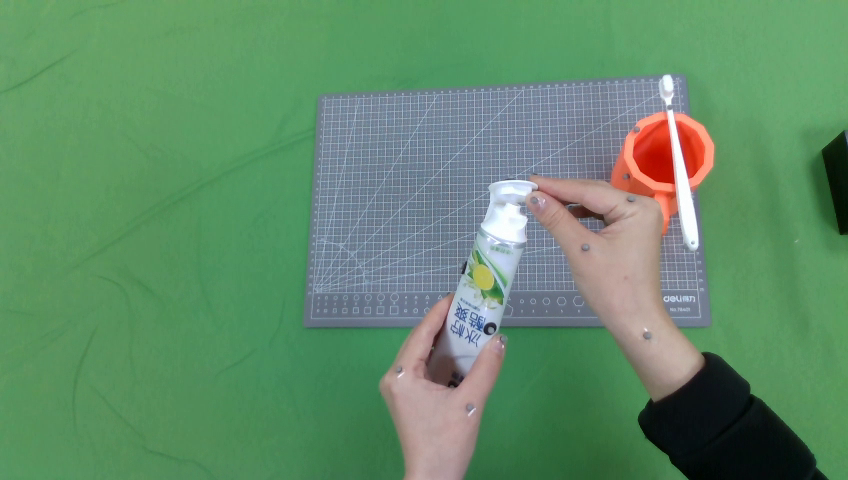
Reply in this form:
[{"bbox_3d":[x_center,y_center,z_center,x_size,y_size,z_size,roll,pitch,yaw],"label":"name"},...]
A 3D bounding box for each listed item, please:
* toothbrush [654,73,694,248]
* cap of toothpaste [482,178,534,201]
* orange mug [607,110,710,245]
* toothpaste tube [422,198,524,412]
[{"bbox_3d":[0.245,-0.081,0.591,0.014,0.017,0.181,-4,75,4],"label":"toothbrush"},{"bbox_3d":[0.058,-0.034,0.422,0.037,0.037,0.011,-3,78,7],"label":"cap of toothpaste"},{"bbox_3d":[0.243,-0.061,0.641,0.083,0.101,0.125,7,72,10],"label":"orange mug"},{"bbox_3d":[0.037,0.046,0.448,0.054,0.035,0.166,29,113,36],"label":"toothpaste tube"}]
